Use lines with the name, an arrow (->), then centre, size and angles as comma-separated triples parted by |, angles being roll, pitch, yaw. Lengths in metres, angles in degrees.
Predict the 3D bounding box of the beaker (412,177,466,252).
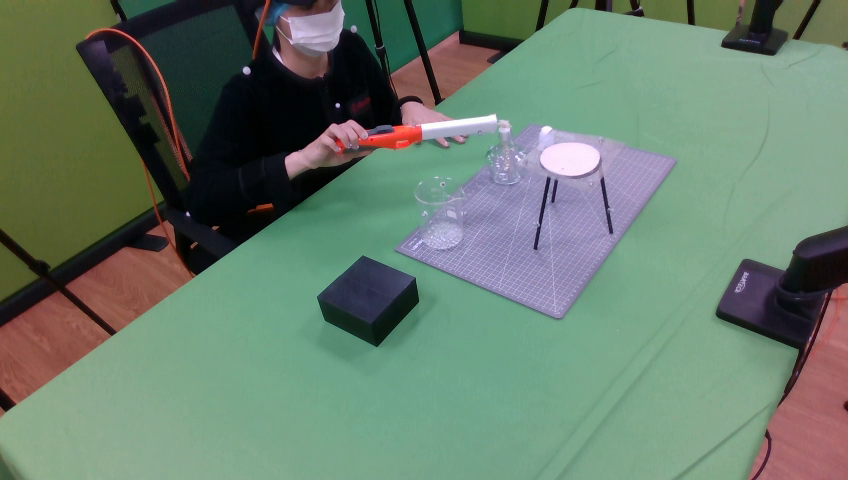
beaker -> 0.029, -0.038, 0.952 | 0.083, 0.101, 0.074 | 9, 43, 18

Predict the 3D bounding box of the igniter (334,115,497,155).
igniter -> -0.015, -0.176, 1.011 | 0.277, 0.057, 0.025 | -9, 62, -3

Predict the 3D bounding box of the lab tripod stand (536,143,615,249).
lab tripod stand -> 0.224, -0.069, 0.931 | 0.148, 0.132, 0.147 | -4, 42, 4

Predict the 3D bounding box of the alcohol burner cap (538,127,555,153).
alcohol burner cap -> 0.234, -0.191, 1.147 | 0.034, 0.048, 0.033 | -5, 40, 5

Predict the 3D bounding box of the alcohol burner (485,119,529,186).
alcohol burner -> 0.145, -0.157, 1.064 | 0.078, 0.119, 0.077 | -6, 39, 5

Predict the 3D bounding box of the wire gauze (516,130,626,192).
wire gauze -> 0.216, -0.124, 0.892 | 0.124, 0.011, 0.122 | 22, 49, 31
